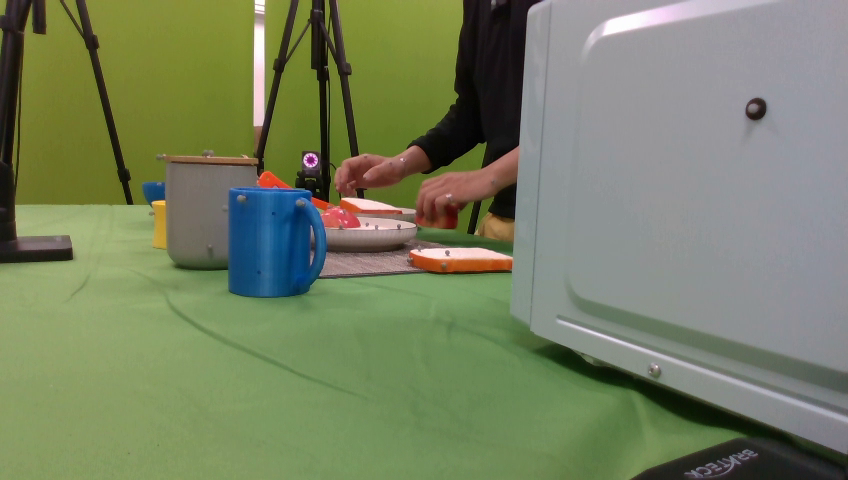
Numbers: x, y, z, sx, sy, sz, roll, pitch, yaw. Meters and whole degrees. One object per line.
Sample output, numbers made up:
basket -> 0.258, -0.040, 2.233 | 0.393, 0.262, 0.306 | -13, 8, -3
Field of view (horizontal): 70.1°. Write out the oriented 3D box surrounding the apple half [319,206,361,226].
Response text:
apple half -> -0.142, -0.041, 1.001 | 0.081, 0.033, 0.081 | 0, 7, 0

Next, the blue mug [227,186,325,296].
blue mug -> -0.147, 0.000, 0.618 | 0.116, 0.106, 0.083 | 7, 9, 32

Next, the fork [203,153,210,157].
fork -> -0.480, -0.136, 1.412 | 0.028, 0.018, 0.207 | 1, -34, -1

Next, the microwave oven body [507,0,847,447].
microwave oven body -> 0.331, -0.042, 0.425 | 0.444, 0.260, 0.324 | -2, 8, -31

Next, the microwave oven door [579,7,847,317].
microwave oven door -> 0.294, -0.067, 0.570 | 0.358, 0.243, 0.039 | -3, 9, -31

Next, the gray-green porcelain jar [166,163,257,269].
gray-green porcelain jar -> -0.263, -0.031, 0.754 | 0.106, 0.126, 0.106 | 2, 7, 0

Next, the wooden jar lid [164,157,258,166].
wooden jar lid -> -0.261, -0.093, 0.746 | 0.108, 0.020, 0.108 | 1, 9, 0

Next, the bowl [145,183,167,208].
bowl -> -0.459, -0.069, 1.175 | 0.151, 0.077, 0.151 | 3, 7, 0

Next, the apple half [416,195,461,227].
apple half -> 0.026, -0.054, 1.093 | 0.080, 0.053, 0.075 | 9, 13, 16

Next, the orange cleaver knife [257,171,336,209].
orange cleaver knife -> -0.283, -0.087, 1.343 | 0.212, 0.077, 0.012 | 24, -16, -41

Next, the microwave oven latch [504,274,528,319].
microwave oven latch -> 0.100, 0.041, 0.470 | 0.079, 0.029, 0.030 | -1, 7, -27

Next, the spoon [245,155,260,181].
spoon -> -0.421, -0.150, 1.540 | 0.042, 0.021, 0.193 | -5, 55, -37

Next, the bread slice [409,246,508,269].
bread slice -> 0.048, 0.022, 0.816 | 0.132, 0.019, 0.104 | 0, 7, -24

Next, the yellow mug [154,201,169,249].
yellow mug -> -0.337, -0.022, 0.899 | 0.130, 0.064, 0.100 | 8, 9, 34

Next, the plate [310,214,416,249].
plate -> -0.116, -0.014, 0.967 | 0.208, 0.039, 0.207 | 2, 8, 0

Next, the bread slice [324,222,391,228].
bread slice -> -0.116, -0.014, 0.974 | 0.135, 0.018, 0.106 | -6, 11, -42

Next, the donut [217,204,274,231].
donut -> -0.318, -0.038, 1.080 | 0.099, 0.048, 0.099 | 3, 7, 0

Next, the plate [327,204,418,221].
plate -> -0.102, -0.053, 1.299 | 0.209, 0.038, 0.209 | 2, 7, 0
